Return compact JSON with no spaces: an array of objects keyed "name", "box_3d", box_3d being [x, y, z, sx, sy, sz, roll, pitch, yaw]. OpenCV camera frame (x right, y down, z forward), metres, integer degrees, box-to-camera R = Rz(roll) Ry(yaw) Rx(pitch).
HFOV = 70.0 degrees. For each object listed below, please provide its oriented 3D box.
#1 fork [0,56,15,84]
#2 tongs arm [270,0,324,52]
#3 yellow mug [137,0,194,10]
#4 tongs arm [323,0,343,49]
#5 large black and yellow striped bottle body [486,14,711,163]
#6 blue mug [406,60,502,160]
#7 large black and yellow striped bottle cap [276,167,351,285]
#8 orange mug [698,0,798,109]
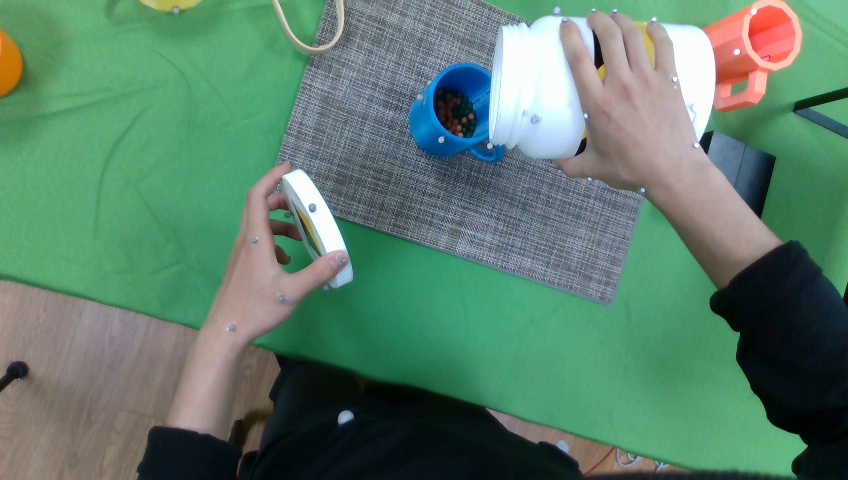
[{"name":"fork","box_3d":[-0.468,-0.204,0.530,0.028,0.018,0.209,-61,146,-7]},{"name":"tongs arm","box_3d":[-0.195,-0.385,0.632,0.051,0.026,0.386,-22,103,-16]},{"name":"yellow mug","box_3d":[-0.287,-0.288,0.617,0.131,0.064,0.100,-35,99,-10]},{"name":"tongs arm","box_3d":[-0.117,-0.408,0.653,0.028,0.027,0.388,-8,100,-22]},{"name":"large black and yellow striped bottle body","box_3d":[0.154,-0.142,0.573,0.184,0.131,0.130,3,90,0]},{"name":"blue mug","box_3d":[0.041,-0.133,0.677,0.117,0.105,0.082,44,81,-10]},{"name":"large black and yellow striped bottle cap","box_3d":[-0.103,-0.012,0.560,0.019,0.114,0.115,-28,97,-21]},{"name":"orange mug","box_3d":[0.401,-0.234,0.771,0.084,0.100,0.126,8,85,-13]}]
